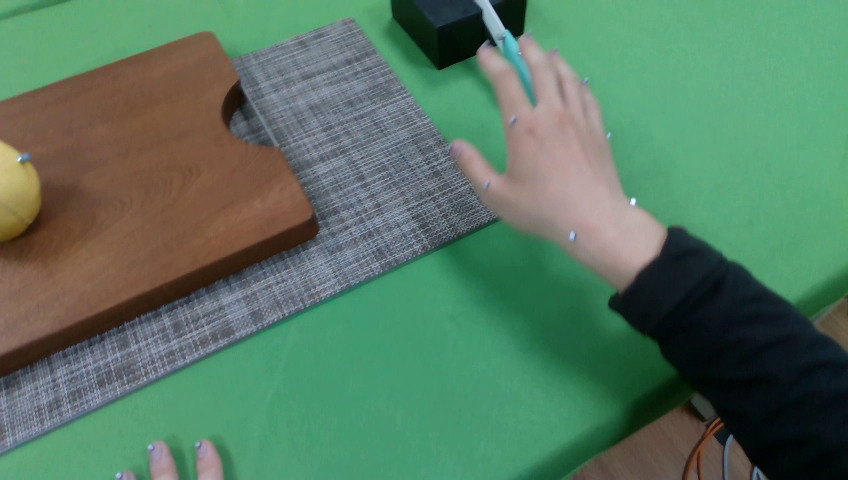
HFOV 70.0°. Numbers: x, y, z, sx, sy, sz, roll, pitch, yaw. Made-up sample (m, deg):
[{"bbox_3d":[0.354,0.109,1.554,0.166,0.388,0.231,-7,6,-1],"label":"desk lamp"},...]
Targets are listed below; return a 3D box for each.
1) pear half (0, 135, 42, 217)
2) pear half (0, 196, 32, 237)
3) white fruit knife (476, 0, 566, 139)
[{"bbox_3d":[-0.312,-0.057,0.451,0.031,0.089,0.070,-40,61,-22],"label":"pear half"},{"bbox_3d":[-0.339,-0.043,0.431,0.056,0.111,0.075,-41,61,-21],"label":"pear half"},{"bbox_3d":[0.076,-0.185,0.557,0.016,0.027,0.206,-23,75,-16],"label":"white fruit knife"}]
